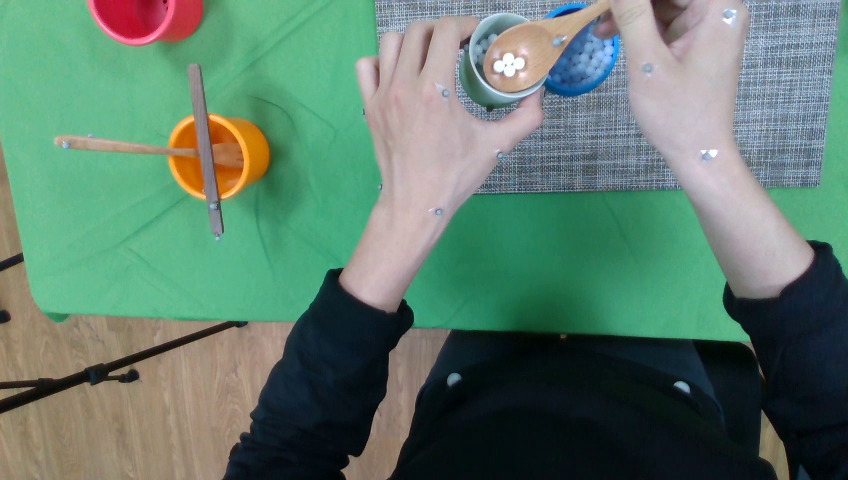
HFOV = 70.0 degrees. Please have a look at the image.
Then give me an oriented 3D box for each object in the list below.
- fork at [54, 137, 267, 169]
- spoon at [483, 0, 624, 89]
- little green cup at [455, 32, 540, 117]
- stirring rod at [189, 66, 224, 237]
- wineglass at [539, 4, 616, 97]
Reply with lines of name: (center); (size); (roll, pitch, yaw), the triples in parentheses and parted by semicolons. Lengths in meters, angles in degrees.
fork: (-0.268, -0.093, 0.638); (0.208, 0.018, 0.028); (0, 117, -36)
spoon: (0.115, -0.147, 0.369); (0.193, 0.021, 0.042); (-21, 104, 43)
little green cup: (0.054, -0.125, 0.454); (0.061, 0.038, 0.062); (0, 113, 1)
stirring rod: (-0.226, -0.089, 0.631); (0.014, 0.006, 0.177); (-1, 104, 10)
wineglass: (0.126, -0.165, 0.540); (0.073, 0.172, 0.074); (2, 104, 9)
